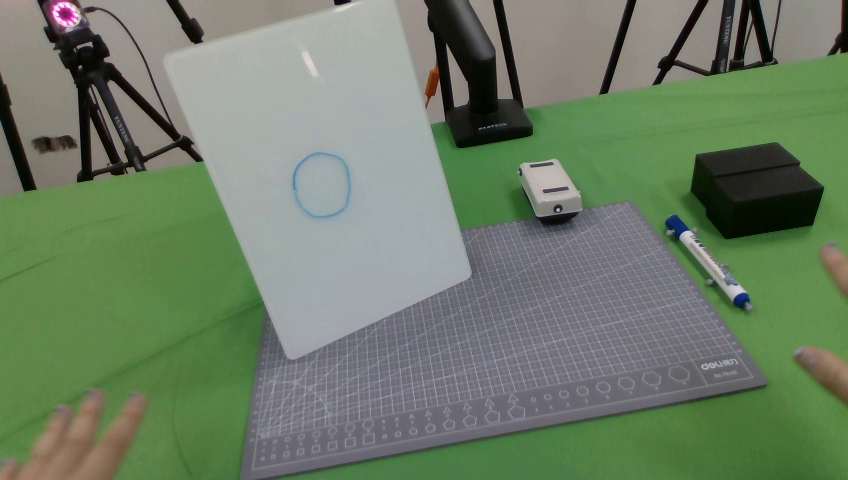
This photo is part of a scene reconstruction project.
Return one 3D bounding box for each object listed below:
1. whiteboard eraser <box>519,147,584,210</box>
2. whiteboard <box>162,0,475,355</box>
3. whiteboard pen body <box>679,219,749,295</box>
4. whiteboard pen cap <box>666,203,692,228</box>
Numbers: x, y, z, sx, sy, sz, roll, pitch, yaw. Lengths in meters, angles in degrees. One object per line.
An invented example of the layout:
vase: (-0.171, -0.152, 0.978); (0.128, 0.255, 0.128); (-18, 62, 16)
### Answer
whiteboard eraser: (0.156, -0.076, 0.753); (0.055, 0.042, 0.111); (-10, 34, 1)
whiteboard: (-0.106, -0.079, 0.639); (0.217, 0.307, 0.142); (-24, 21, -18)
whiteboard pen body: (0.298, 0.009, 0.638); (0.017, 0.017, 0.139); (-11, 37, -3)
whiteboard pen cap: (0.288, -0.027, 0.683); (0.018, 0.018, 0.033); (-11, 36, -3)
